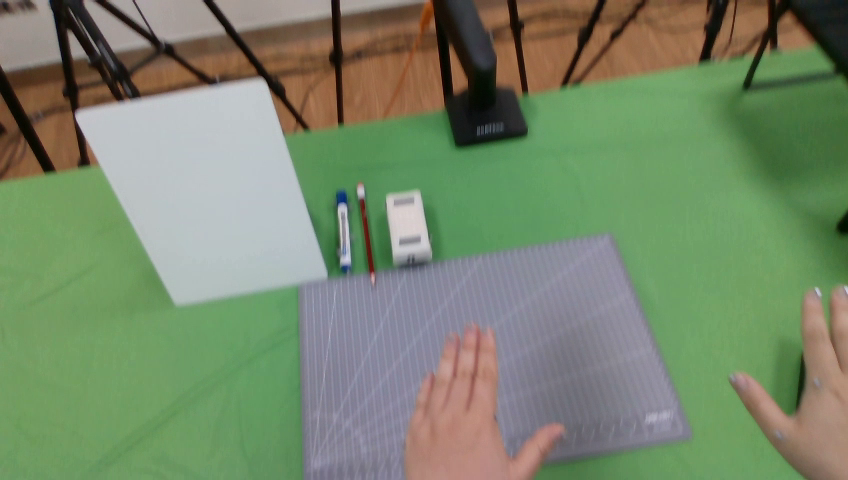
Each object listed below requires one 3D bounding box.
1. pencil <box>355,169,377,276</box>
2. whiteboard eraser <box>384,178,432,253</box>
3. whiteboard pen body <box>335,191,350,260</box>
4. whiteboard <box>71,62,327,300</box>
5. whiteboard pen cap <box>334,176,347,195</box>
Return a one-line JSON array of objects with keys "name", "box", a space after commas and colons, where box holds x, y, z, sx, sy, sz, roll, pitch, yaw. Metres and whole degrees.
[{"name": "pencil", "box": [-0.084, -0.029, 0.888, 0.012, 0.012, 0.192, -12, 57, -2]}, {"name": "whiteboard eraser", "box": [-0.025, -0.035, 0.868, 0.055, 0.042, 0.111, -11, 57, 0]}, {"name": "whiteboard pen body", "box": [-0.121, -0.032, 0.889, 0.017, 0.017, 0.139, -9, 57, 0]}, {"name": "whiteboard", "box": [-0.269, -0.096, 0.810, 0.217, 0.308, 0.142, -10, 38, 0]}, {"name": "whiteboard pen cap", "box": [-0.127, -0.080, 0.920, 0.018, 0.018, 0.033, -11, 56, -1]}]
